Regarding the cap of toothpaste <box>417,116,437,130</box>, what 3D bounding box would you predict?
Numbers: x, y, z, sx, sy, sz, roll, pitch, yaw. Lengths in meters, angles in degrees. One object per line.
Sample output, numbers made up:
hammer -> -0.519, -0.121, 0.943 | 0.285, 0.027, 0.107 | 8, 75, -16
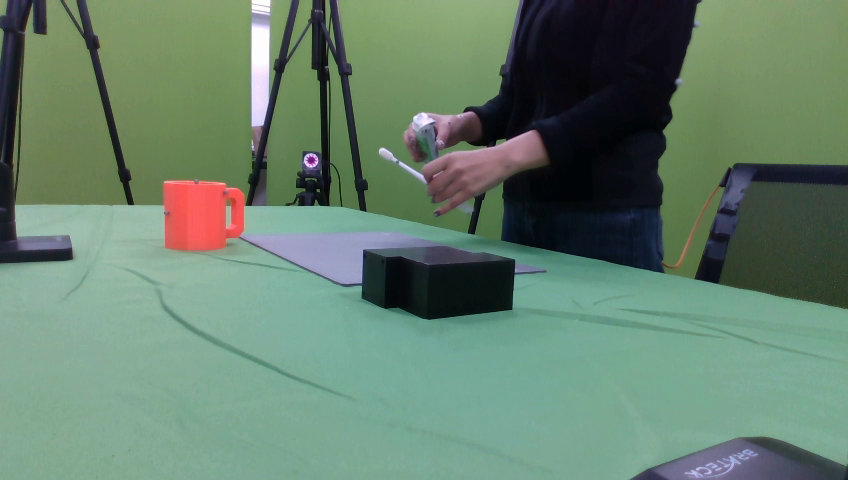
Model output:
cap of toothpaste -> 0.004, -0.196, 1.009 | 0.037, 0.011, 0.037 | -23, -2, 0

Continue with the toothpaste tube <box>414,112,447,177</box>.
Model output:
toothpaste tube -> 0.012, -0.172, 1.095 | 0.055, 0.034, 0.165 | 40, -15, 27

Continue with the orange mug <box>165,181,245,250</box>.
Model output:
orange mug -> -0.326, -0.040, 0.911 | 0.083, 0.101, 0.127 | 8, 14, 37

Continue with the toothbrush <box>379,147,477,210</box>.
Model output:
toothbrush -> 0.009, -0.097, 0.963 | 0.182, 0.014, 0.016 | 31, -10, -11
